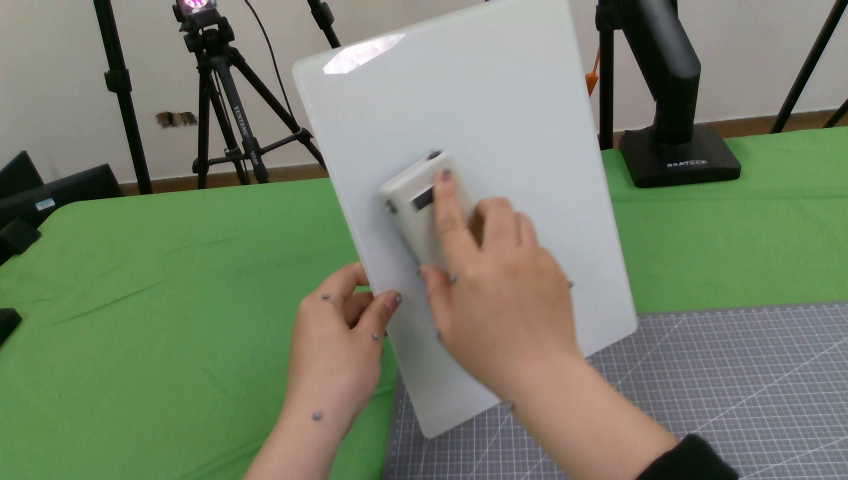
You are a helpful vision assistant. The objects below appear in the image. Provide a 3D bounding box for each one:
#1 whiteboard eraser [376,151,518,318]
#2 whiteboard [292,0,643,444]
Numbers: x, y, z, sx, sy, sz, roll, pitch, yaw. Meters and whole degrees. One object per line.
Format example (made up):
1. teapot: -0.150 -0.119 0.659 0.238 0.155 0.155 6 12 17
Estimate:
1. whiteboard eraser: 0.017 -0.003 0.433 0.055 0.113 0.041 -35 17 -9
2. whiteboard: 0.032 -0.029 0.527 0.217 0.307 0.143 -23 18 -15
